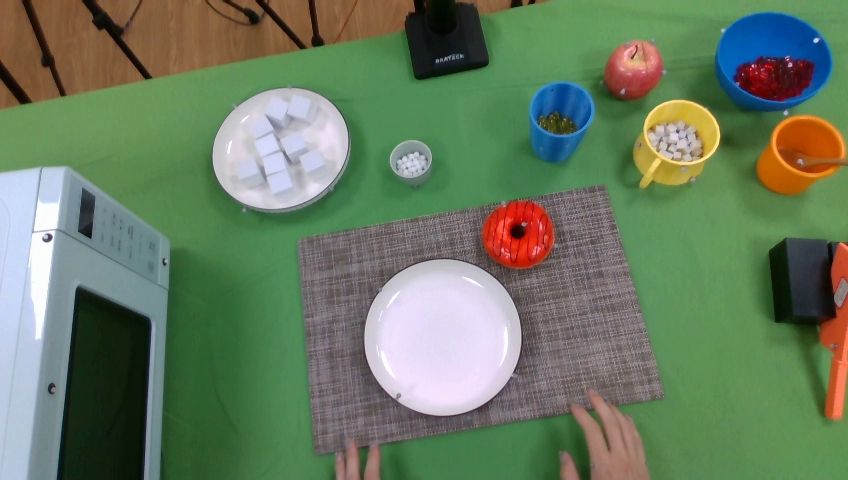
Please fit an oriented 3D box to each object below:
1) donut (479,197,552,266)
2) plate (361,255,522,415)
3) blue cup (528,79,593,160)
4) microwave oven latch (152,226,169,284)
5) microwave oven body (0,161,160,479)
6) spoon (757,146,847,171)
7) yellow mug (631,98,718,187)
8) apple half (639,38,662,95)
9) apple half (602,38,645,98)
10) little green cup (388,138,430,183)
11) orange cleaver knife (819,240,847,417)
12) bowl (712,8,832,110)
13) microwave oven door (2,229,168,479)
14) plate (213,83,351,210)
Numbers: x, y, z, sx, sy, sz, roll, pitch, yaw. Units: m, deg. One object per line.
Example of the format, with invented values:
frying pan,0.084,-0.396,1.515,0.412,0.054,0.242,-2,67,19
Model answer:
donut,0.126,-0.012,0.828,0.099,0.048,0.098,-2,73,6
plate,0.023,0.123,0.794,0.209,0.038,0.207,-2,71,5
blue cup,0.185,-0.160,0.849,0.092,0.101,0.092,-1,72,4
microwave oven latch,-0.378,0.022,0.852,0.030,0.030,0.078,-6,71,3
microwave oven body,-0.517,0.173,0.710,0.326,0.262,0.438,-7,71,3
spoon,0.520,-0.100,0.770,0.041,0.192,0.022,-50,117,-12
yellow mug,0.336,-0.126,0.840,0.099,0.064,0.130,37,79,16
apple half,0.326,-0.251,0.880,0.033,0.082,0.080,-5,70,8
apple half,0.287,-0.247,0.884,0.053,0.075,0.080,-5,73,7
little green cup,-0.019,-0.114,0.885,0.061,0.039,0.061,-2,70,5
orange cleaver knife,0.499,0.107,0.734,0.012,0.077,0.212,4,101,9
bowl,0.479,-0.241,0.861,0.151,0.077,0.150,-2,71,6
microwave oven door,-0.369,0.192,0.683,0.039,0.245,0.353,-7,70,3
plate,-0.210,-0.138,0.911,0.207,0.039,0.206,-2,70,5
